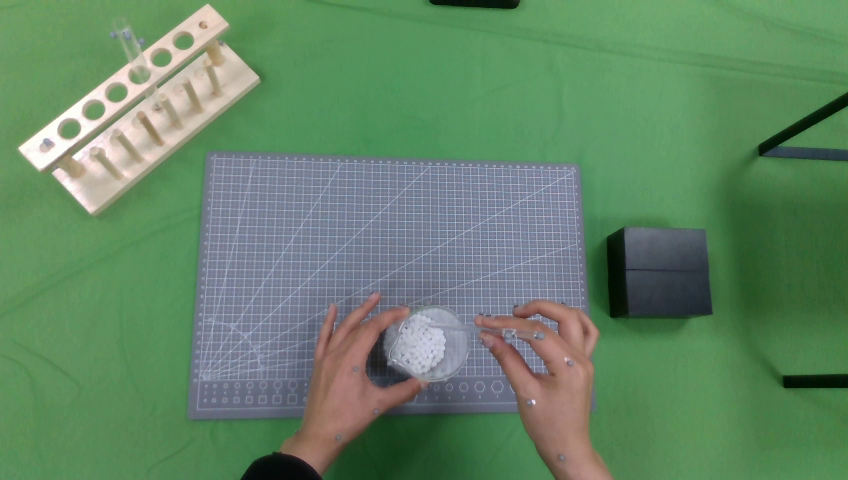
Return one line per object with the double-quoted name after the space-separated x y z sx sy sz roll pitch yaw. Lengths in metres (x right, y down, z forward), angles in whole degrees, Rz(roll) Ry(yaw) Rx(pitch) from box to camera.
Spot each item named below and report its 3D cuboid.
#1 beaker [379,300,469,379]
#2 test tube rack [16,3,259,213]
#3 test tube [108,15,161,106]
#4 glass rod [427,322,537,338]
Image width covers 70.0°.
-0.007 0.106 0.628 0.084 0.100 0.074 -15 84 -16 "beaker"
-0.301 -0.143 0.663 0.066 0.085 0.242 45 76 4 "test tube rack"
-0.293 -0.179 0.621 0.017 0.150 0.017 3 73 -10 "test tube"
0.043 0.079 0.536 0.008 0.199 0.008 2 84 -23 "glass rod"
